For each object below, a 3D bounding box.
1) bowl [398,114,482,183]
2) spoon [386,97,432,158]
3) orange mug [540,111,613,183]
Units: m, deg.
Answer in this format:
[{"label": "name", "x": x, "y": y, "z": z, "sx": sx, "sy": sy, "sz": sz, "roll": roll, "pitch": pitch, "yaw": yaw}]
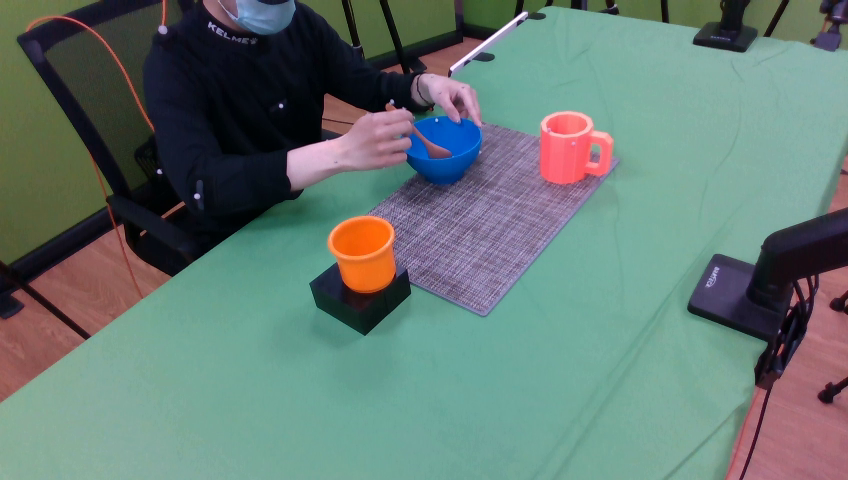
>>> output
[{"label": "bowl", "x": 0.032, "y": -0.156, "z": 1.097, "sx": 0.151, "sy": 0.077, "sz": 0.150, "roll": -4, "pitch": 41, "yaw": 4}, {"label": "spoon", "x": -0.012, "y": -0.178, "z": 1.032, "sx": 0.021, "sy": 0.195, "sz": 0.041, "roll": -36, "pitch": 45, "yaw": 2}, {"label": "orange mug", "x": 0.263, "y": -0.159, "z": 1.052, "sx": 0.125, "sy": 0.101, "sz": 0.083, "roll": 13, "pitch": 45, "yaw": 29}]
